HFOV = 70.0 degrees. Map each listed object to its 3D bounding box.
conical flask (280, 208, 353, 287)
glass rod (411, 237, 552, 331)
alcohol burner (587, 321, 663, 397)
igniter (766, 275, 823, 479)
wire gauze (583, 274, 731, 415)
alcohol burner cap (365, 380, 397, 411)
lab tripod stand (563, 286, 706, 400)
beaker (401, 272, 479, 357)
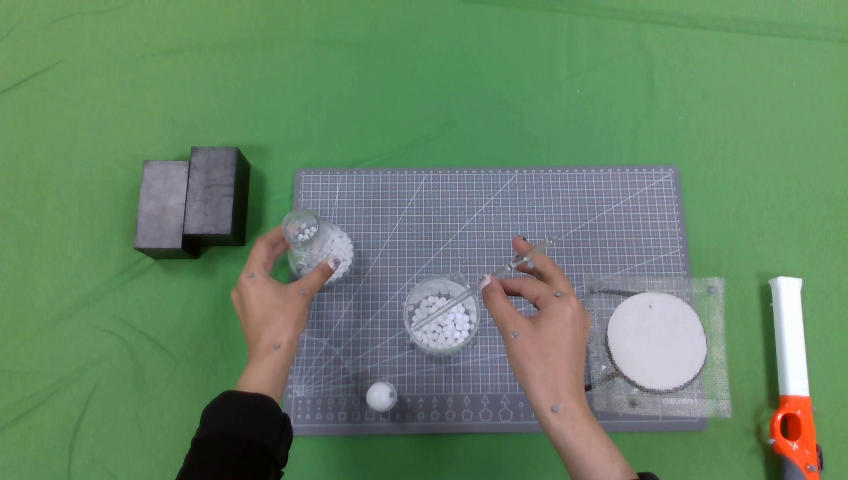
[{"bbox_3d":[-0.117,0.002,0.627,0.075,0.122,0.075,0,75,0],"label":"conical flask"},{"bbox_3d":[0.043,0.044,0.534,0.008,0.200,0.008,19,53,-27],"label":"glass rod"},{"bbox_3d":[0.205,0.118,0.606,0.078,0.119,0.077,0,76,2],"label":"alcohol burner"},{"bbox_3d":[0.389,0.173,0.640,0.057,0.025,0.275,6,76,-10],"label":"igniter"},{"bbox_3d":[0.204,0.090,0.533,0.125,0.011,0.121,2,77,1],"label":"wire gauze"},{"bbox_3d":[-0.046,0.162,0.629,0.034,0.048,0.033,0,75,0],"label":"alcohol burner cap"},{"bbox_3d":[0.204,0.108,0.598,0.148,0.132,0.147,0,78,0],"label":"lab tripod stand"},{"bbox_3d":[0.017,0.080,0.621,0.074,0.101,0.083,22,76,5],"label":"beaker"}]
